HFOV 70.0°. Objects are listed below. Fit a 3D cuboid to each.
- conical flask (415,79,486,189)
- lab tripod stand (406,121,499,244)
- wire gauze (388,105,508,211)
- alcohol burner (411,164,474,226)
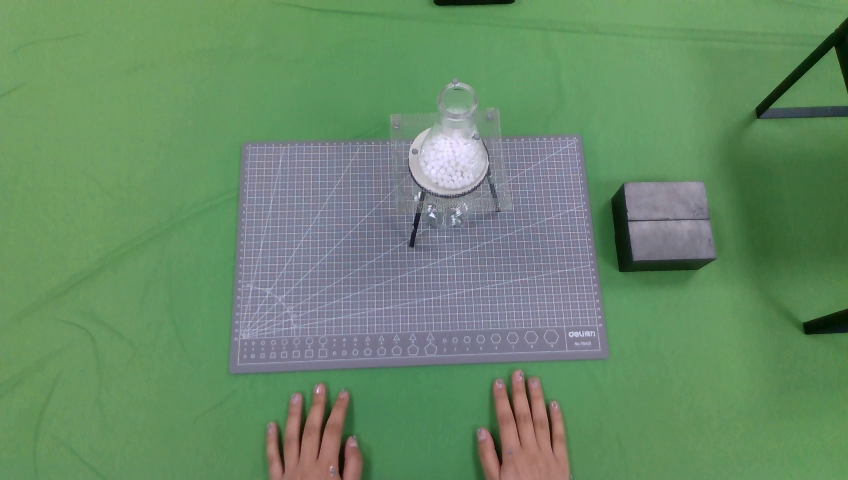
[{"bbox_3d":[0.028,-0.107,0.596,0.075,0.122,0.075,0,71,-1],"label":"conical flask"},{"bbox_3d":[0.021,-0.073,0.716,0.148,0.132,0.147,0,73,0],"label":"lab tripod stand"},{"bbox_3d":[0.025,-0.088,0.652,0.125,0.011,0.121,-2,74,-5],"label":"wire gauze"},{"bbox_3d":[0.023,-0.061,0.723,0.078,0.120,0.077,0,73,1],"label":"alcohol burner"}]
